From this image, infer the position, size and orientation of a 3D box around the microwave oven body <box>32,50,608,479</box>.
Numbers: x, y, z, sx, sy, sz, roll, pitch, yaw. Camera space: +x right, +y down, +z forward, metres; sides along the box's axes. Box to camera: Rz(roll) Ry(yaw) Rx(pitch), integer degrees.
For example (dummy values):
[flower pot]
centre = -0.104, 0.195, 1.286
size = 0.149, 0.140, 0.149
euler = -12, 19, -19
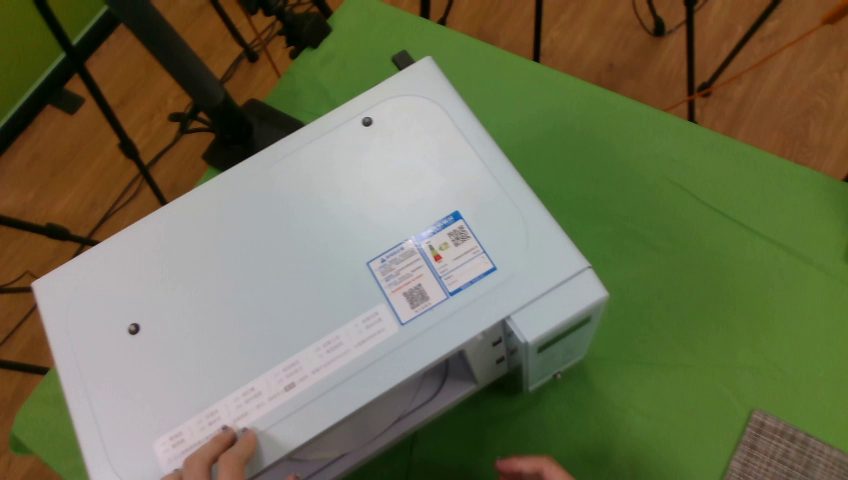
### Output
[microwave oven body]
centre = -0.095, 0.074, 0.640
size = 0.442, 0.262, 0.323
euler = -32, 67, -4

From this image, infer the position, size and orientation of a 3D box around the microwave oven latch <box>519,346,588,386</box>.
[microwave oven latch]
centre = 0.146, 0.132, 0.683
size = 0.079, 0.030, 0.030
euler = -30, 66, -3
